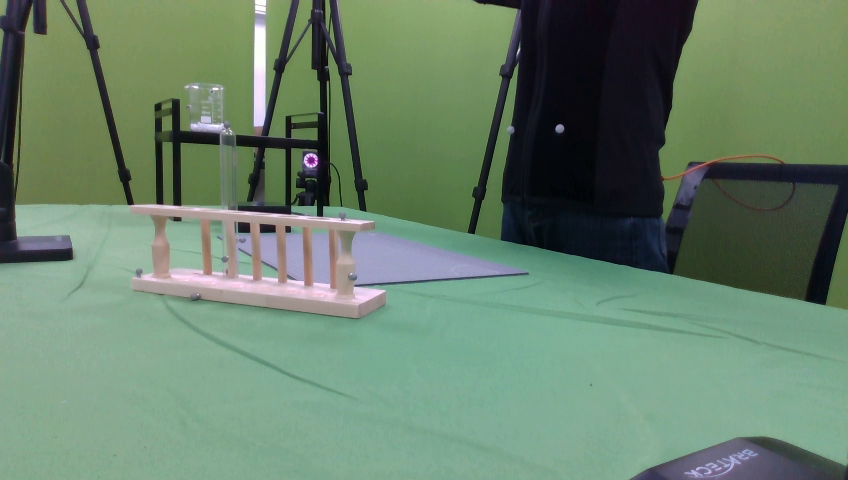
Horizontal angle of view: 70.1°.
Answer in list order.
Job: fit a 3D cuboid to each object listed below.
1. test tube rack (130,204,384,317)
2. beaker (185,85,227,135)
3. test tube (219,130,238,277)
[{"bbox_3d":[-0.163,0.014,0.589,0.242,0.085,0.067,5,8,17],"label":"test tube rack"},{"bbox_3d":[-0.460,-0.275,1.282,0.084,0.100,0.073,-3,8,-27],"label":"beaker"},{"bbox_3d":[-0.198,-0.036,0.613,0.017,0.150,0.017,2,8,0],"label":"test tube"}]
